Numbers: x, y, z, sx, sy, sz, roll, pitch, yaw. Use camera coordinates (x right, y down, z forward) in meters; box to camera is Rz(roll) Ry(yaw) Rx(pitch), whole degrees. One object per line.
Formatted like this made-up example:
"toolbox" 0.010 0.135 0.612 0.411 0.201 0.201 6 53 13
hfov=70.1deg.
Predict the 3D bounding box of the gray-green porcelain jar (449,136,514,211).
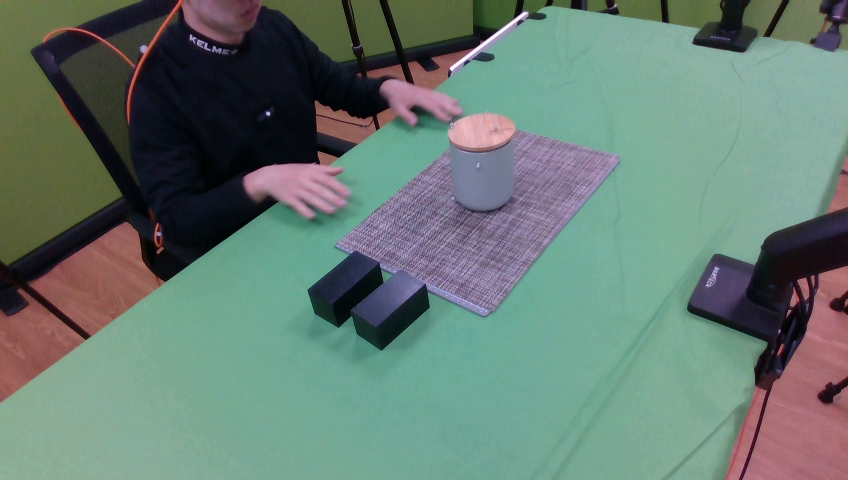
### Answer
"gray-green porcelain jar" 0.098 -0.120 1.008 0.106 0.127 0.105 -4 41 4

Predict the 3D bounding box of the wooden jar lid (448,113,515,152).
"wooden jar lid" 0.092 -0.168 0.967 0.108 0.021 0.108 -6 39 5
